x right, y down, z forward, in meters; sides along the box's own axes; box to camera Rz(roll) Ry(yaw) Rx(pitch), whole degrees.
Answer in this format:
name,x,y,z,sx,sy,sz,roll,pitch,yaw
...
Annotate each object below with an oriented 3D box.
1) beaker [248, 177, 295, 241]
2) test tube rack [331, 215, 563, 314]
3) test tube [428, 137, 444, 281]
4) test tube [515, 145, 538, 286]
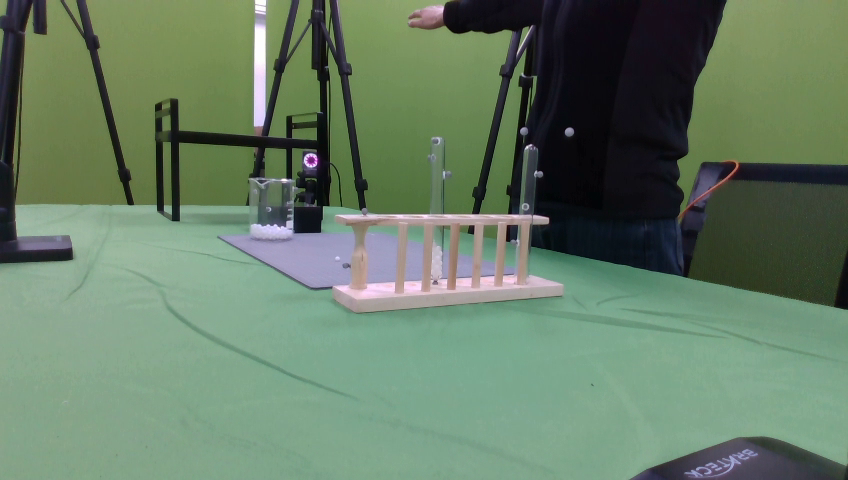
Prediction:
name,x,y,z,sx,sy,sz,roll,pitch,yaw
beaker,-0.252,-0.051,0.992,0.074,0.100,0.084,3,9,6
test tube rack,0.031,0.019,0.626,0.243,0.085,0.066,-1,8,-28
test tube,0.012,-0.032,0.631,0.017,0.150,0.017,1,3,0
test tube,0.108,-0.024,0.639,0.017,0.150,0.017,2,9,0
